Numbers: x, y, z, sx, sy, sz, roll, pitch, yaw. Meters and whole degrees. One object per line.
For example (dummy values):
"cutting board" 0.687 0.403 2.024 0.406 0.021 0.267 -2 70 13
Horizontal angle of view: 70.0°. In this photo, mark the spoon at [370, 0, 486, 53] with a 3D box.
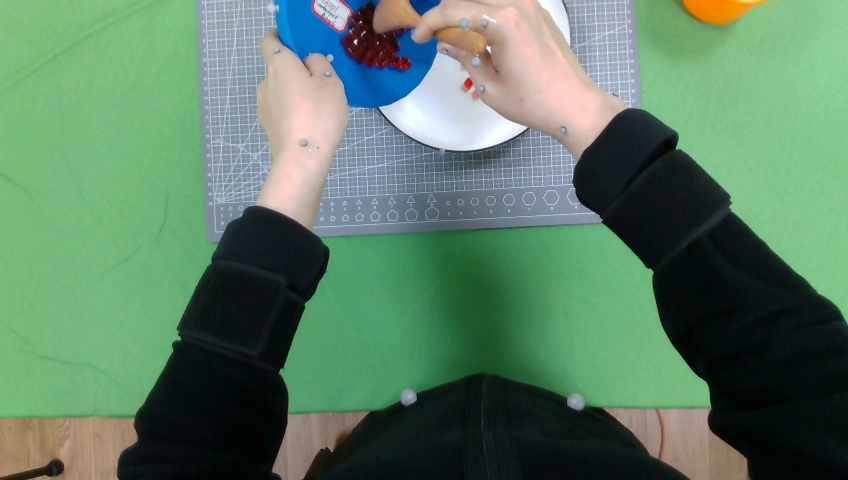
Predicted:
"spoon" -0.001 -0.160 0.441 0.022 0.191 0.041 23 104 -37

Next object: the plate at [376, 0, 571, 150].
"plate" 0.039 -0.192 0.601 0.209 0.038 0.209 0 90 4

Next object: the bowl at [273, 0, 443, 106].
"bowl" -0.066 -0.193 0.509 0.152 0.076 0.152 -15 115 -34
